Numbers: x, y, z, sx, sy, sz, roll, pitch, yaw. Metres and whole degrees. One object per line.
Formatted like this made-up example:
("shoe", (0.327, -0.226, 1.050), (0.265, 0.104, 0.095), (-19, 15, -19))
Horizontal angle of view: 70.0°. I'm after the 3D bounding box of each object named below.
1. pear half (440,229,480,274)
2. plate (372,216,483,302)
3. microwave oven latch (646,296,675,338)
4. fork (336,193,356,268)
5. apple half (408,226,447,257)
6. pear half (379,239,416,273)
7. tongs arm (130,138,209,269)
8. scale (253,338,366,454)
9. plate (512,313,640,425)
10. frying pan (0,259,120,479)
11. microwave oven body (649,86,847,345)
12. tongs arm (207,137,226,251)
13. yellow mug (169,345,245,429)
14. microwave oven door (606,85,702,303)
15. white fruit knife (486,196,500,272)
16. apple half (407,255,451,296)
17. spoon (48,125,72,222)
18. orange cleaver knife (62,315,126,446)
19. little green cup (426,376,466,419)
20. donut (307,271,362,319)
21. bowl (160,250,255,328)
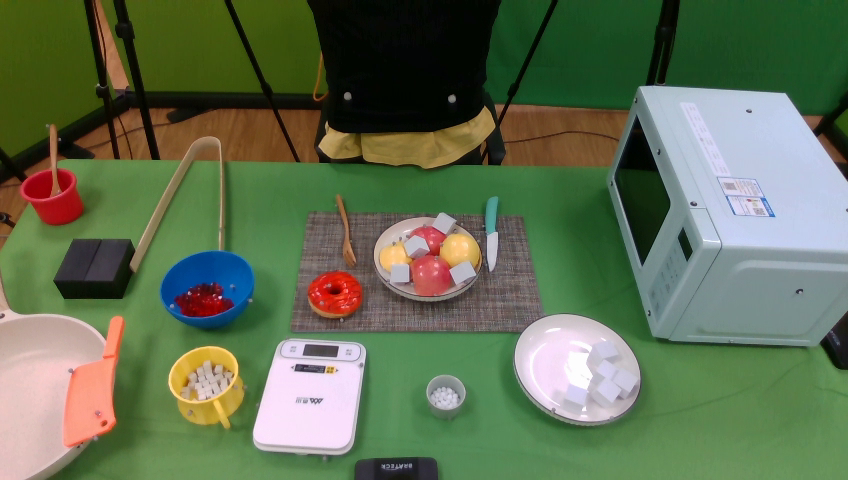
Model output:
("pear half", (0.065, 0.007, 1.151), (0.076, 0.056, 0.109), (-10, 43, -2))
("plate", (0.006, 0.038, 1.145), (0.209, 0.038, 0.208), (2, 46, -2))
("microwave oven latch", (0.412, 0.134, 1.061), (0.030, 0.029, 0.078), (4, 45, 1))
("fork", (-0.158, -0.025, 1.207), (0.019, 0.028, 0.206), (15, 38, -27))
("apple half", (0.009, -0.006, 1.176), (0.081, 0.033, 0.081), (2, 51, -2))
("pear half", (-0.048, 0.024, 1.147), (0.070, 0.031, 0.087), (12, 47, -11))
("tongs arm", (-0.514, -0.089, 1.234), (0.028, 0.028, 0.385), (2, 44, 3))
("scale", (-0.175, 0.236, 0.951), (0.149, 0.032, 0.199), (4, 45, -1))
("plate", (0.246, 0.213, 0.999), (0.208, 0.039, 0.206), (2, 46, -2))
("frying pan", (-0.647, 0.164, 0.936), (0.307, 0.103, 0.485), (-19, 58, -22))
("microwave oven body", (0.567, -0.053, 1.118), (0.326, 0.261, 0.439), (2, 45, -1))
("tongs arm", (-0.430, -0.090, 1.245), (0.051, 0.026, 0.382), (-6, 46, -9))
("yellow mug", (-0.323, 0.230, 0.922), (0.100, 0.064, 0.130), (-24, 53, -25))
("microwave oven door", (0.422, -0.094, 1.140), (0.039, 0.245, 0.353), (2, 46, -1))
("white fruit knife", (0.138, -0.015, 1.221), (0.027, 0.016, 0.206), (-2, 46, 10))
("apple half", (0.011, 0.058, 1.103), (0.075, 0.053, 0.080), (-6, 43, -13))
("spoon", (-0.718, -0.131, 1.189), (0.041, 0.021, 0.193), (-3, 90, -6))
("orange cleaver knife", (-0.480, 0.199, 0.887), (0.077, 0.012, 0.210), (-9, 47, -8))
("little green cup", (0.033, 0.248, 0.950), (0.061, 0.039, 0.061), (2, 46, -2))
("donut", (-0.158, 0.097, 1.073), (0.099, 0.048, 0.098), (4, 45, -4))
("bowl", (-0.362, 0.098, 1.040), (0.151, 0.077, 0.150), (2, 45, -2))
